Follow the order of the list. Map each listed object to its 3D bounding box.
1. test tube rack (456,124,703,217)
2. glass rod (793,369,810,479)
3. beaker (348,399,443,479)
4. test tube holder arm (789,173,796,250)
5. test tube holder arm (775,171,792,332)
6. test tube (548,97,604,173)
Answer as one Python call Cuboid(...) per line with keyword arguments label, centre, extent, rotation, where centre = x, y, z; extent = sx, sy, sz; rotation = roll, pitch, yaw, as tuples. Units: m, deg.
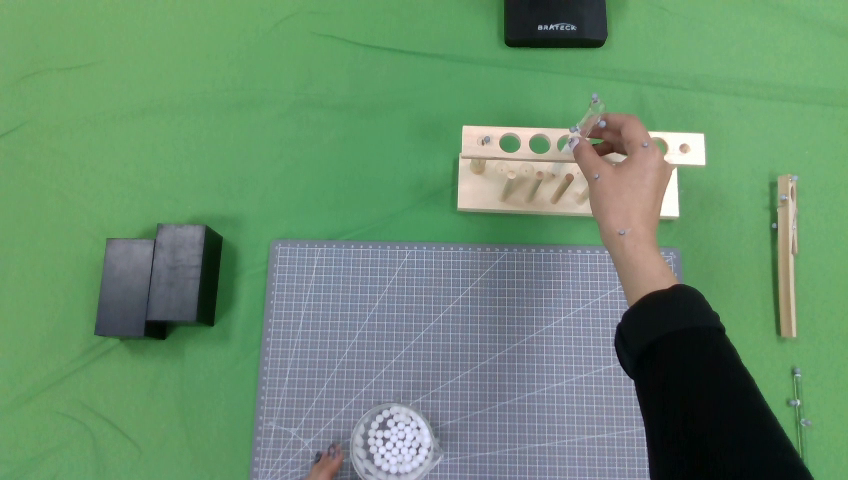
Cuboid(label="test tube rack", centre=(0.158, -0.072, 0.645), extent=(0.242, 0.085, 0.066), rotation=(2, 76, 1))
Cuboid(label="glass rod", centre=(0.385, 0.231, 0.611), extent=(0.008, 0.008, 0.198), rotation=(3, 76, 1))
Cuboid(label="beaker", centre=(-0.024, 0.189, 0.575), extent=(0.084, 0.100, 0.073), rotation=(10, 77, 2))
Cuboid(label="test tube holder arm", centre=(0.401, -0.031, 0.668), extent=(0.010, 0.015, 0.087), rotation=(15, 76, -27))
Cuboid(label="test tube holder arm", centre=(0.390, 0.011, 0.655), extent=(0.013, 0.015, 0.177), rotation=(14, 76, -28))
Cuboid(label="test tube", centre=(0.147, -0.099, 0.598), extent=(0.017, 0.151, 0.017), rotation=(1, 75, -2))
